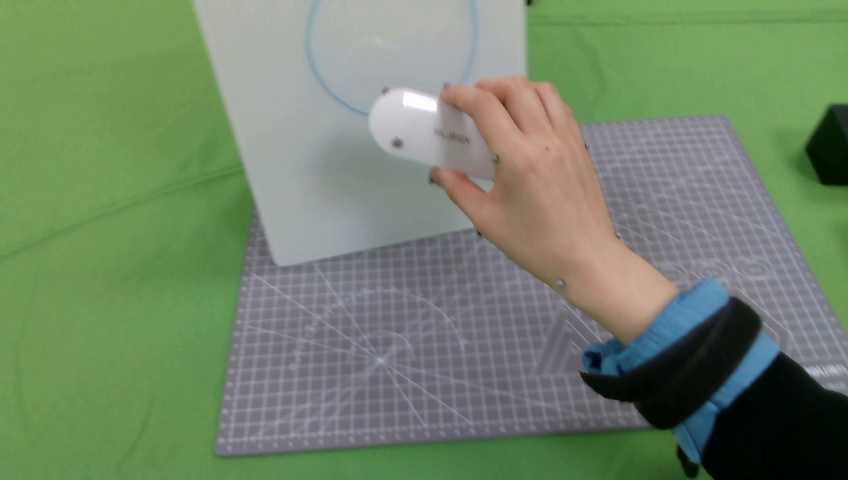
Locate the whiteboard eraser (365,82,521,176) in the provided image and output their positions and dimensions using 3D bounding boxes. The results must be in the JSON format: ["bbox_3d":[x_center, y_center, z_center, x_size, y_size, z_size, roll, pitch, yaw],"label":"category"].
[{"bbox_3d":[0.014,-0.069,0.382,0.102,0.041,0.018,14,11,-18],"label":"whiteboard eraser"}]

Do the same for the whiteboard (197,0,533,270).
[{"bbox_3d":[-0.042,-0.160,0.470,0.217,0.308,0.142,-11,33,-7],"label":"whiteboard"}]
